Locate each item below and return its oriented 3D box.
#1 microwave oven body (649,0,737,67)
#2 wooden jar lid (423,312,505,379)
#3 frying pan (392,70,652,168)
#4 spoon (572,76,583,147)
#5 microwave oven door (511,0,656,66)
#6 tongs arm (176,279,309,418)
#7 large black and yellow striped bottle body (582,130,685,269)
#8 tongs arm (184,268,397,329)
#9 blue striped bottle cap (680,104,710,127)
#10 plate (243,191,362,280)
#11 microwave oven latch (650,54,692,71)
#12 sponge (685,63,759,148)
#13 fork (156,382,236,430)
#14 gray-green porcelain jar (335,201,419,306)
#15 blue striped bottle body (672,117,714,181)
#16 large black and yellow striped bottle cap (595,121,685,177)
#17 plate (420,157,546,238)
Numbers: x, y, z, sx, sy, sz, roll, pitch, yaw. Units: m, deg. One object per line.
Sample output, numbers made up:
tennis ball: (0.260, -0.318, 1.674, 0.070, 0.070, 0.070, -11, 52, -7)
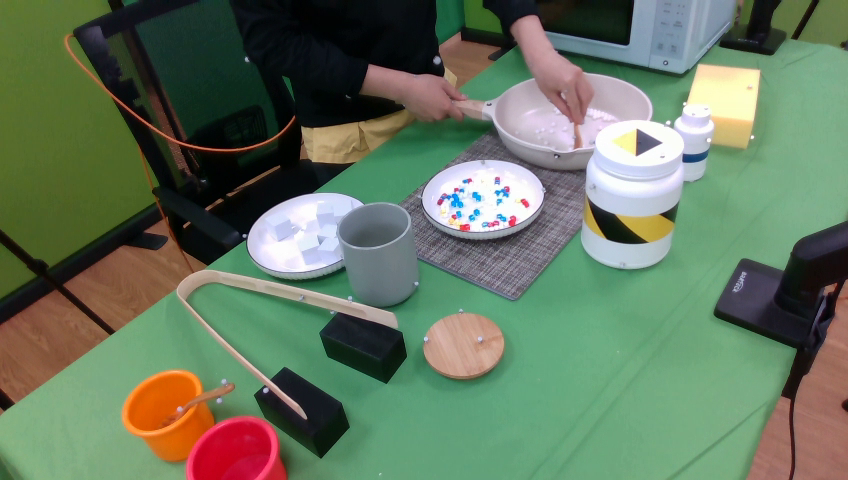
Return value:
microwave oven body: (0.475, -0.602, 1.411, 0.438, 0.261, 0.327, 23, 50, 32)
wooden jar lid: (0.053, 0.142, 0.800, 0.108, 0.021, 0.108, -5, 39, 4)
frying pan: (0.176, -0.248, 1.166, 0.487, 0.103, 0.306, 12, 42, 9)
spoon: (0.281, -0.225, 1.115, 0.022, 0.041, 0.193, 9, 69, -2)
microwave oven door: (0.351, -0.540, 1.350, 0.353, 0.245, 0.039, 24, 50, 31)
tongs arm: (-0.254, 0.132, 0.801, 0.028, 0.028, 0.384, -41, 40, -23)
large black and yellow striped bottle body: (0.301, -0.063, 0.877, 0.131, 0.185, 0.130, -4, 41, 4)
tongs arm: (-0.202, 0.084, 0.848, 0.382, 0.027, 0.051, 11, 45, 35)
blue striped bottle cap: (0.443, -0.205, 0.989, 0.044, 0.021, 0.044, -1, 41, 2)
plate: (-0.187, -0.005, 0.992, 0.207, 0.039, 0.206, -4, 41, 4)
microwave oven latch: (0.531, -0.386, 1.301, 0.078, 0.029, 0.030, 24, 50, 32)
sponge: (0.569, -0.263, 1.164, 0.117, 0.061, 0.207, 12, 45, 22)
fork: (-0.262, 0.189, 0.690, 0.018, 0.206, 0.028, 49, 43, -7)
gray-green porcelain jar: (-0.064, 0.024, 0.872, 0.106, 0.127, 0.105, -4, 41, 4)
blue striped bottle body: (0.449, -0.165, 1.022, 0.063, 0.121, 0.063, -5, 41, 4)
large black and yellow striped bottle cap: (0.292, -0.126, 0.821, 0.115, 0.019, 0.114, -5, 40, 4)
plate: (0.099, -0.067, 1.017, 0.209, 0.038, 0.208, -4, 40, 4)
